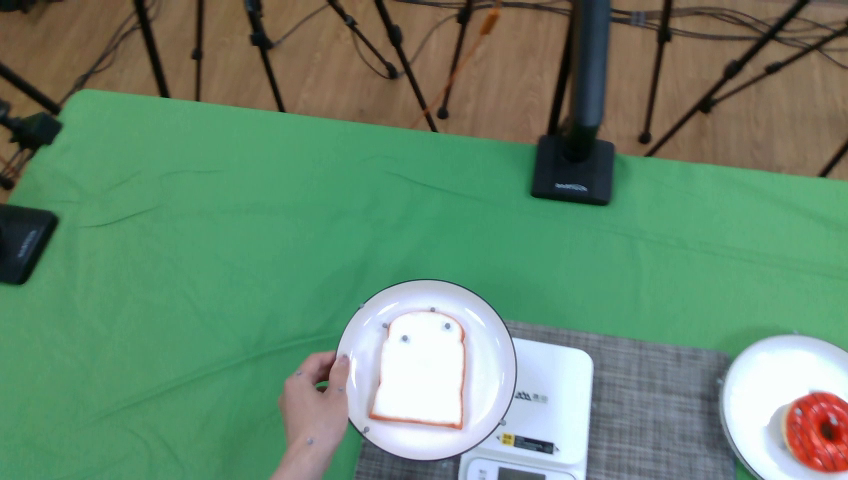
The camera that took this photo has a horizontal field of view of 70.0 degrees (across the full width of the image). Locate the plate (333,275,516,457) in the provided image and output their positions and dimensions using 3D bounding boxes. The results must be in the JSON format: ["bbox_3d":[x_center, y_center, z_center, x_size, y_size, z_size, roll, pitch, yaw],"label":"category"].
[{"bbox_3d":[0.001,0.142,0.697,0.209,0.038,0.207,-1,66,2],"label":"plate"}]

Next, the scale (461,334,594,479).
[{"bbox_3d":[0.132,0.219,0.755,0.148,0.032,0.199,8,64,7],"label":"scale"}]

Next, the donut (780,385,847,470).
[{"bbox_3d":[0.478,0.224,0.723,0.099,0.048,0.098,0,67,1],"label":"donut"}]

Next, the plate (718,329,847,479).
[{"bbox_3d":[0.464,0.213,0.742,0.207,0.039,0.206,-1,63,2],"label":"plate"}]

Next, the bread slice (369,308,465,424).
[{"bbox_3d":[-0.005,0.141,0.700,0.105,0.019,0.130,4,66,3],"label":"bread slice"}]
